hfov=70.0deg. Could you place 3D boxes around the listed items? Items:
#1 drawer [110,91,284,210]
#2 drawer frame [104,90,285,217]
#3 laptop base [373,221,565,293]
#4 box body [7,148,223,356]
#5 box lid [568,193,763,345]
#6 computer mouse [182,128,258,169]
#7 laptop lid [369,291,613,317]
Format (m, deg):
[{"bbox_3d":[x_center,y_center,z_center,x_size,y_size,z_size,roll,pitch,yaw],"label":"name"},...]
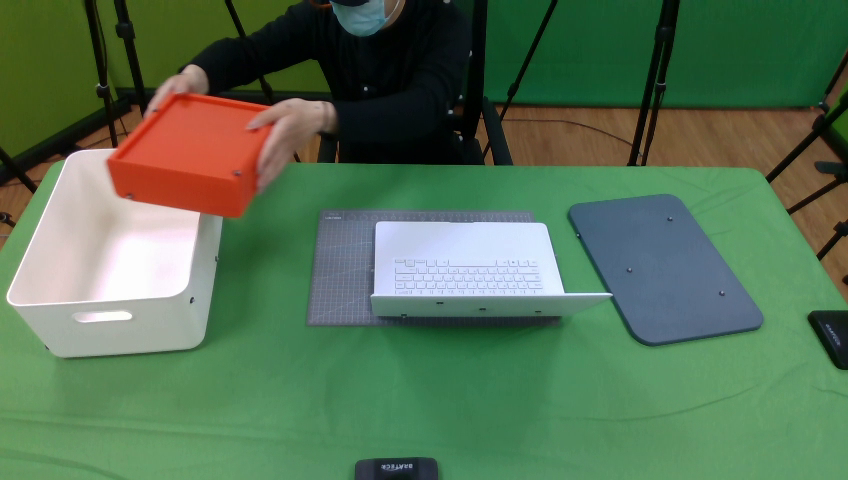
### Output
[{"bbox_3d":[-0.354,-0.147,0.976,0.194,0.073,0.210,10,42,2],"label":"drawer"},{"bbox_3d":[-0.354,-0.144,0.972,0.202,0.083,0.212,10,43,2],"label":"drawer frame"},{"bbox_3d":[0.080,0.049,1.158,0.355,0.023,0.234,0,43,-4],"label":"laptop base"},{"bbox_3d":[-0.499,0.012,1.051,0.254,0.161,0.361,-3,47,-7],"label":"box body"},{"bbox_3d":[0.465,0.040,1.203,0.264,0.015,0.369,-7,47,-11],"label":"box lid"},{"bbox_3d":[-0.339,-0.154,1.011,0.117,0.041,0.062,12,42,-3],"label":"computer mouse"},{"bbox_3d":[0.092,0.104,0.965,0.357,0.242,0.013,0,76,-5],"label":"laptop lid"}]
